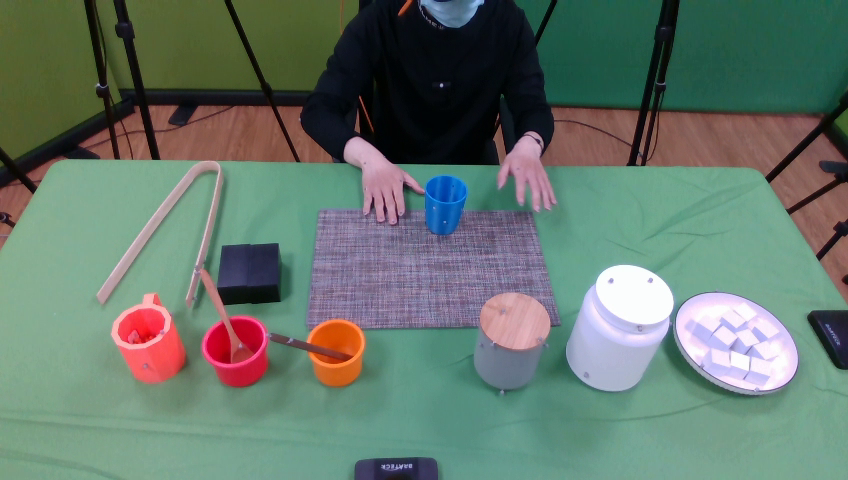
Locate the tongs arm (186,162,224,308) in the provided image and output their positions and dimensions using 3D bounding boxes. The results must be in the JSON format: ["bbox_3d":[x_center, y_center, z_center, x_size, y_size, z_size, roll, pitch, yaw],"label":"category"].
[{"bbox_3d":[-0.435,-0.025,1.181,0.051,0.027,0.382,-3,45,0],"label":"tongs arm"}]

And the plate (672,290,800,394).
[{"bbox_3d":[0.533,0.178,1.050,0.208,0.039,0.206,2,46,-2],"label":"plate"}]

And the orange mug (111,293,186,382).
[{"bbox_3d":[-0.435,0.149,0.969,0.083,0.101,0.125,-5,51,-9],"label":"orange mug"}]

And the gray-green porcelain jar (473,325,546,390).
[{"bbox_3d":[0.135,0.170,0.969,0.106,0.127,0.105,2,46,-2],"label":"gray-green porcelain jar"}]

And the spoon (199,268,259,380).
[{"bbox_3d":[-0.312,0.132,0.962,0.041,0.021,0.194,-24,96,-22],"label":"spoon"}]

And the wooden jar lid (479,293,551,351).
[{"bbox_3d":[0.138,0.127,0.925,0.108,0.021,0.107,1,47,-1],"label":"wooden jar lid"}]

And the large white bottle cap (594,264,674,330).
[{"bbox_3d":[0.314,0.083,0.906,0.115,0.018,0.114,2,46,-2],"label":"large white bottle cap"}]

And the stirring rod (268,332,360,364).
[{"bbox_3d":[-0.167,0.169,0.942,0.177,0.006,0.014,26,26,-41],"label":"stirring rod"}]

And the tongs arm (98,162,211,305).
[{"bbox_3d":[-0.519,-0.028,1.184,0.028,0.028,0.385,5,45,13],"label":"tongs arm"}]

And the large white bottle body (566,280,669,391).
[{"bbox_3d":[0.310,0.142,0.968,0.131,0.185,0.130,2,46,-2],"label":"large white bottle body"}]

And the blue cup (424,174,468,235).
[{"bbox_3d":[0.039,-0.065,1.201,0.093,0.101,0.092,3,46,-3],"label":"blue cup"}]
